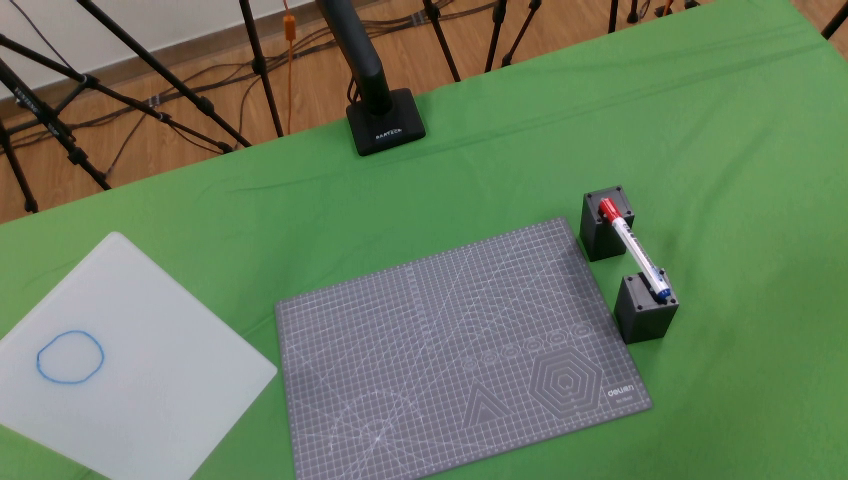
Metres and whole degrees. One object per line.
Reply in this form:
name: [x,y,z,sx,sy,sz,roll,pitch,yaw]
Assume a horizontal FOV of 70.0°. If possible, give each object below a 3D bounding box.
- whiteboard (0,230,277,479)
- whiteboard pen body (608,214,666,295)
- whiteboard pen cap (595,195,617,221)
whiteboard: [-0.375,0.147,0.747,0.142,0.309,0.216,20,63,42]
whiteboard pen body: [0.252,0.007,0.739,0.017,0.017,0.139,-21,59,-3]
whiteboard pen cap: [0.232,-0.040,0.770,0.017,0.017,0.032,-21,60,-3]
